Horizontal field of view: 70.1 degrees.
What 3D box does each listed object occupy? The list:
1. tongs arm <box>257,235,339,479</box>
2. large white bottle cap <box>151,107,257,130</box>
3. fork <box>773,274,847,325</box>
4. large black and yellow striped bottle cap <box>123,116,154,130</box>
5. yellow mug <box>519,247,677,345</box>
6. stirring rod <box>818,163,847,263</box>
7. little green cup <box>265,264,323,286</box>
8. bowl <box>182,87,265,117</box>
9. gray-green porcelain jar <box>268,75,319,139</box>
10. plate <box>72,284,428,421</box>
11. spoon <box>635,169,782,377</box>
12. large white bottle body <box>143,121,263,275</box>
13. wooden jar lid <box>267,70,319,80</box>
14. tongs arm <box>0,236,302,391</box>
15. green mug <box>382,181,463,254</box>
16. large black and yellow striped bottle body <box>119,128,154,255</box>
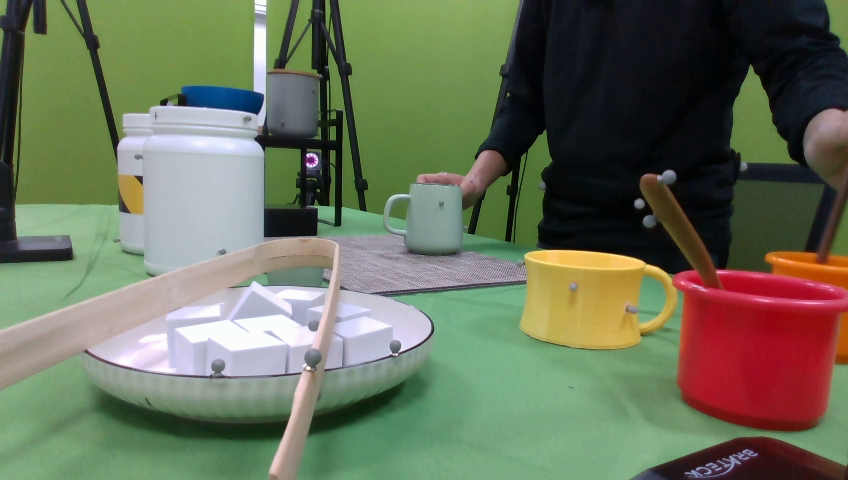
[{"bbox_3d":[-0.074,0.040,0.345,0.051,0.026,0.384,-1,10,-3],"label":"tongs arm"},{"bbox_3d":[-0.250,-0.138,0.692,0.115,0.018,0.115,3,7,0],"label":"large white bottle cap"},{"bbox_3d":[0.332,0.018,0.443,0.028,0.018,0.207,-2,-35,-15],"label":"fork"},{"bbox_3d":[-0.353,-0.159,0.838,0.115,0.019,0.115,2,6,0],"label":"large black and yellow striped bottle cap"},{"bbox_3d":[0.148,0.045,0.513,0.131,0.064,0.100,3,7,0],"label":"yellow mug"},{"bbox_3d":[0.343,-0.066,0.480,0.014,0.176,0.006,5,12,-39],"label":"stirring rod"},{"bbox_3d":[-0.134,0.033,0.628,0.061,0.038,0.061,3,7,0],"label":"little green cup"},{"bbox_3d":[-0.383,-0.243,1.158,0.151,0.077,0.151,2,7,0],"label":"bowl"},{"bbox_3d":[-0.277,-0.279,1.280,0.106,0.126,0.106,2,8,0],"label":"gray-green porcelain jar"},{"bbox_3d":[-0.102,0.067,0.381,0.208,0.039,0.207,3,7,0],"label":"plate"},{"bbox_3d":[0.161,0.026,0.346,0.021,0.194,0.041,-51,32,-19],"label":"spoon"},{"bbox_3d":[-0.254,-0.054,0.702,0.131,0.184,0.130,2,8,0],"label":"large white bottle body"},{"bbox_3d":[-0.275,-0.339,1.271,0.108,0.020,0.108,5,6,0],"label":"wooden jar lid"},{"bbox_3d":[-0.157,0.037,0.347,0.028,0.028,0.388,-2,8,11],"label":"tongs arm"},{"bbox_3d":[-0.001,-0.036,0.922,0.126,0.105,0.092,0,8,-16],"label":"green mug"},{"bbox_3d":[-0.355,-0.076,0.850,0.131,0.184,0.130,2,8,0],"label":"large black and yellow striped bottle body"}]
